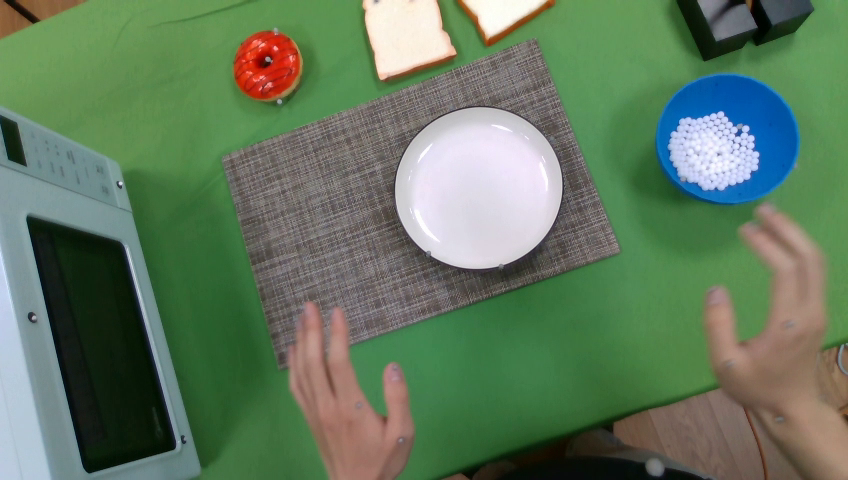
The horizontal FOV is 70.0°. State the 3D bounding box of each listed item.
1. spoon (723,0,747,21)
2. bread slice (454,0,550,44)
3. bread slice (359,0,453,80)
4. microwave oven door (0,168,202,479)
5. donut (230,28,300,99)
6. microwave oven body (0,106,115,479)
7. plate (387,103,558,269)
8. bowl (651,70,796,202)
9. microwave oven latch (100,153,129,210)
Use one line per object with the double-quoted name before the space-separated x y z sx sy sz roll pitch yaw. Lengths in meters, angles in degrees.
"spoon" 0.351 -0.300 0.671 0.021 0.195 0.041 -20 76 19
"bread slice" 0.088 -0.339 0.806 0.105 0.019 0.131 -34 79 1
"bread slice" -0.032 -0.288 0.814 0.107 0.018 0.133 -20 79 4
"microwave oven door" -0.365 0.109 0.665 0.039 0.245 0.354 -22 78 4
"donut" -0.216 -0.238 0.819 0.099 0.048 0.098 -2 81 11
"microwave oven body" -0.514 0.125 0.689 0.326 0.261 0.439 -21 79 4
"plate" 0.060 -0.065 0.751 0.207 0.039 0.207 -1 81 8
"bowl" 0.334 -0.110 0.702 0.151 0.077 0.151 -1 80 8
"microwave oven latch" -0.422 -0.074 0.807 0.030 0.029 0.079 -22 79 4
